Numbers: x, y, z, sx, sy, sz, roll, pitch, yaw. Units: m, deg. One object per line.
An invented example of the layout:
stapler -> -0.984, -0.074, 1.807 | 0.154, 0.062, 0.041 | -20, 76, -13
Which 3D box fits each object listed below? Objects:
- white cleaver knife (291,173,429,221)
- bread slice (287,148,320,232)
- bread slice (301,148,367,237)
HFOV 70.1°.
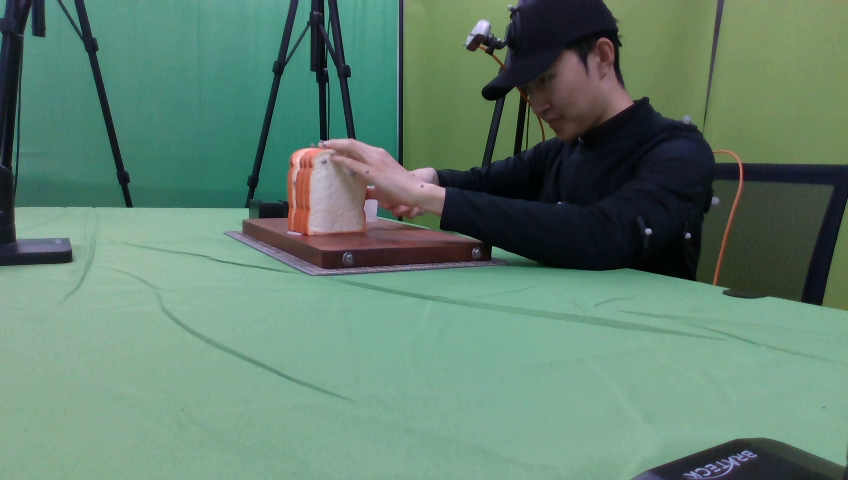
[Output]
white cleaver knife -> -0.100, -0.065, 1.014 | 0.288, 0.066, 0.021 | 4, 3, -44
bread slice -> -0.170, -0.079, 0.954 | 0.105, 0.131, 0.019 | -3, 3, -45
bread slice -> -0.135, -0.071, 0.909 | 0.107, 0.134, 0.018 | -6, 12, -37
